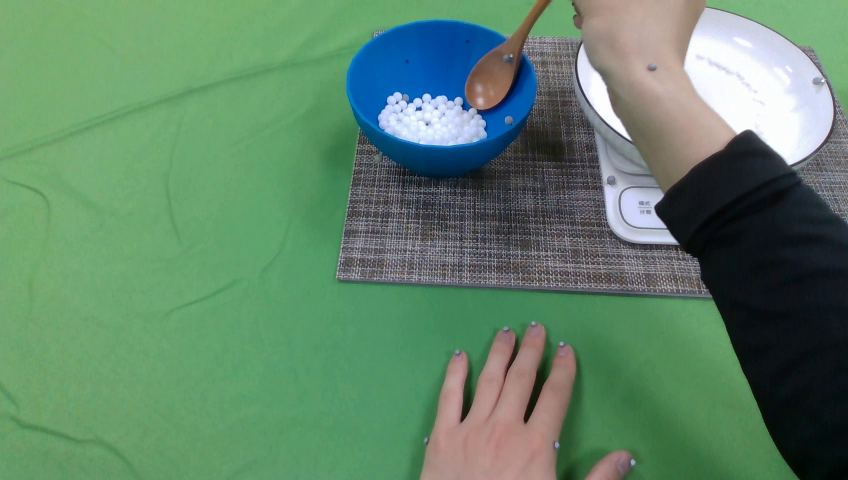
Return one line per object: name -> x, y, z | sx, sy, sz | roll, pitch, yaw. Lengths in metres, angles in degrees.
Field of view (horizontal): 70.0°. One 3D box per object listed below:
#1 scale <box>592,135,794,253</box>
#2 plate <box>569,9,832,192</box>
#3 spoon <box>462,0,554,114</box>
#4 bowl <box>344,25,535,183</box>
scale -> 0.221, -0.079, 0.521 | 0.149, 0.032, 0.199 | 2, 55, 1
plate -> 0.223, -0.117, 0.507 | 0.209, 0.038, 0.207 | 1, 55, -1
spoon -> 0.082, -0.164, 0.455 | 0.022, 0.194, 0.041 | -18, 72, -34
bowl -> 0.012, -0.100, 0.505 | 0.151, 0.077, 0.150 | 0, 55, 0
